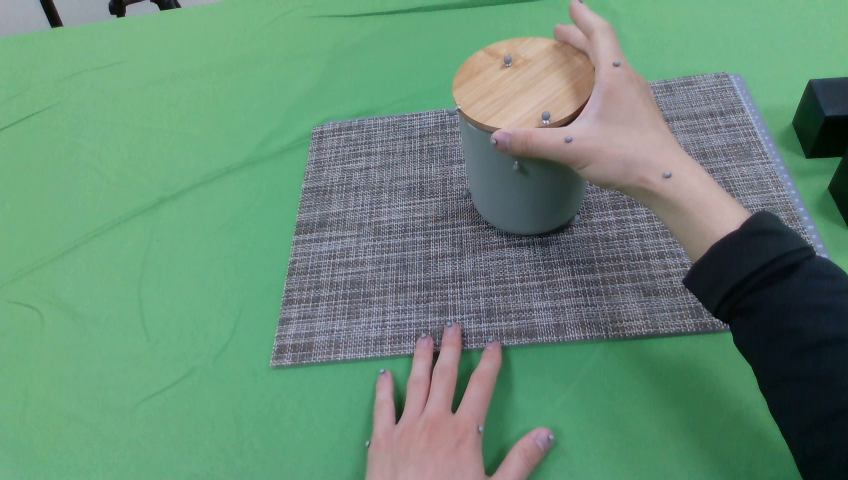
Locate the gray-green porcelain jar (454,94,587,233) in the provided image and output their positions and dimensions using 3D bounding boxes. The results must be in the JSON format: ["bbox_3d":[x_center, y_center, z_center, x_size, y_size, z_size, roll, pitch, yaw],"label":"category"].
[{"bbox_3d":[0.084,-0.077,0.518,0.106,0.128,0.105,-5,51,7],"label":"gray-green porcelain jar"}]

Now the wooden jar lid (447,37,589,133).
[{"bbox_3d":[0.072,-0.117,0.469,0.108,0.021,0.107,-5,54,7],"label":"wooden jar lid"}]
